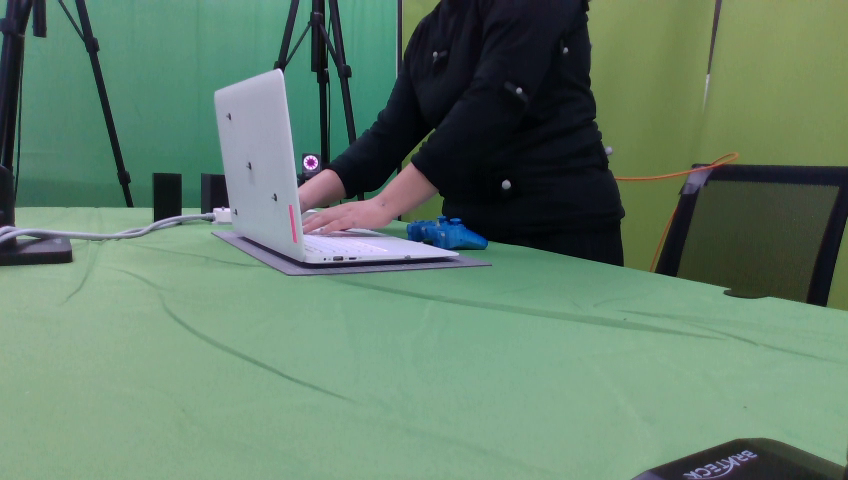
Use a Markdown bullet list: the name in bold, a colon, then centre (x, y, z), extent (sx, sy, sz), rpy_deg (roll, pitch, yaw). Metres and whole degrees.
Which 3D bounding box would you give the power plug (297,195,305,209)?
- **power plug**: centre (-0.285, -0.075, 1.341), extent (0.035, 0.052, 0.072), rpy_deg (1, 4, -19)

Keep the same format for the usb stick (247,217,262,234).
- **usb stick**: centre (-0.305, -0.027, 1.090), extent (0.021, 0.027, 0.059), rpy_deg (7, -4, -11)

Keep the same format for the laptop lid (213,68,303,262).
- **laptop lid**: centre (-0.248, -0.107, 0.865), extent (0.013, 0.241, 0.355), rpy_deg (-11, 14, -30)

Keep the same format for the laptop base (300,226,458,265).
- **laptop base**: centre (-0.137, 0.007, 0.950), extent (0.237, 0.023, 0.352), rpy_deg (2, 6, -32)

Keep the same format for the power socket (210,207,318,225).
- **power socket**: centre (-0.335, -0.051, 1.280), extent (0.228, 0.032, 0.072), rpy_deg (-1, 9, -29)

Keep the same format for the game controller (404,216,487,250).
- **game controller**: centre (0.032, -0.013, 1.067), extent (0.097, 0.051, 0.154), rpy_deg (-7, 10, -29)
